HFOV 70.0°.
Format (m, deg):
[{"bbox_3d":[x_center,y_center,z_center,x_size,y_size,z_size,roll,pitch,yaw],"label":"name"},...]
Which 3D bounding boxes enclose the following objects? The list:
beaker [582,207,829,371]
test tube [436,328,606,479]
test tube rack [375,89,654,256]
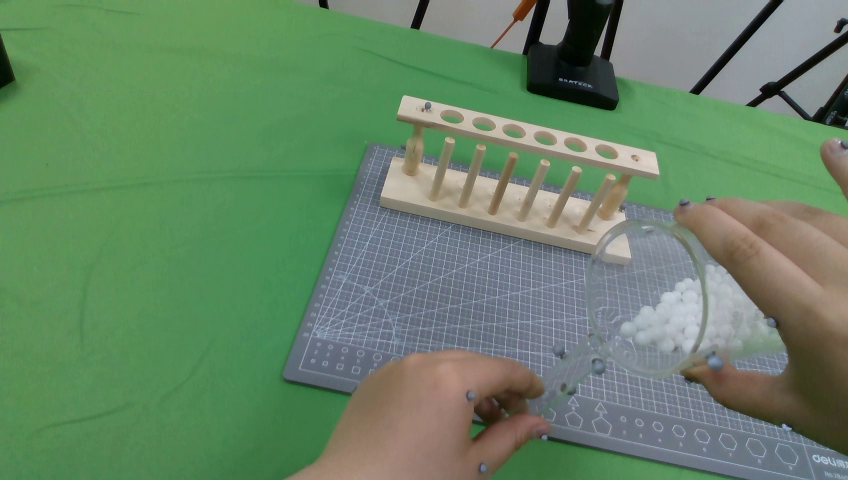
[{"bbox_3d":[0.141,0.024,0.306,0.101,0.084,0.073,-2,50,-26],"label":"beaker"},{"bbox_3d":[0.050,0.101,0.352,0.017,0.150,0.017,25,35,-19],"label":"test tube"},{"bbox_3d":[0.083,-0.062,0.571,0.242,0.086,0.066,13,45,-2],"label":"test tube rack"}]
